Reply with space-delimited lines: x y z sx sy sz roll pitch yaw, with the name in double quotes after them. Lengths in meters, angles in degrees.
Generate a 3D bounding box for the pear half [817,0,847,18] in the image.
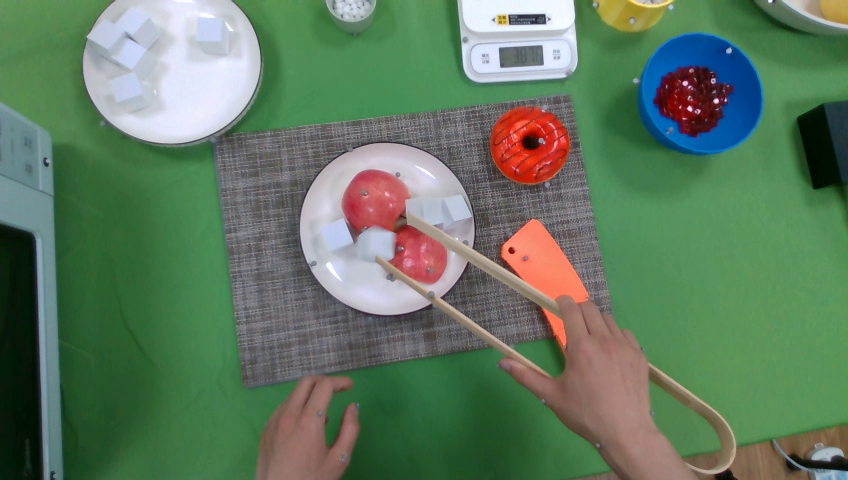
0.553 -0.322 0.768 0.076 0.110 0.056 28 82 4 "pear half"

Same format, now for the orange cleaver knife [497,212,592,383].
0.162 0.068 0.733 0.077 0.012 0.210 -26 84 -12 "orange cleaver knife"

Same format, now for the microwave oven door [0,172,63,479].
-0.417 0.103 0.557 0.039 0.244 0.354 -6 83 -5 "microwave oven door"

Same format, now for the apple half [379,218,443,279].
-0.015 0.008 0.711 0.081 0.033 0.081 0 85 -1 "apple half"

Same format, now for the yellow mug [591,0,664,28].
0.259 -0.346 0.775 0.100 0.064 0.130 -41 86 -8 "yellow mug"

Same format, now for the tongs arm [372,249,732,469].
0.114 0.106 0.595 0.383 0.027 0.050 35 69 13 "tongs arm"

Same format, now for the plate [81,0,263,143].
-0.297 -0.214 0.729 0.208 0.039 0.207 1 82 -4 "plate"

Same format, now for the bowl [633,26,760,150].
0.322 -0.176 0.752 0.151 0.077 0.151 1 83 -4 "bowl"

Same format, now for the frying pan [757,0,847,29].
0.591 -0.329 0.779 0.307 0.103 0.485 -35 78 -7 "frying pan"

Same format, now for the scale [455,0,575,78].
0.114 -0.311 0.777 0.149 0.031 0.200 -4 83 -4 "scale"

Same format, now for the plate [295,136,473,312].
-0.047 -0.019 0.719 0.209 0.038 0.208 1 82 -4 "plate"

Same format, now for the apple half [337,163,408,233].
-0.061 -0.053 0.707 0.074 0.053 0.080 36 81 4 "apple half"

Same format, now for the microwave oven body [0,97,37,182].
-0.567 0.076 0.554 0.326 0.260 0.440 -6 84 -6 "microwave oven body"

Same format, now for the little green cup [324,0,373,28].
-0.093 -0.297 0.756 0.061 0.039 0.061 1 82 -4 "little green cup"

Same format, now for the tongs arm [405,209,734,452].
0.134 0.080 0.606 0.386 0.028 0.028 35 65 12 "tongs arm"

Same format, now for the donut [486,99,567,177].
0.125 -0.125 0.743 0.099 0.048 0.099 0 83 -2 "donut"

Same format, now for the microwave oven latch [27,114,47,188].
-0.446 -0.099 0.684 0.030 0.029 0.079 -4 84 -5 "microwave oven latch"
